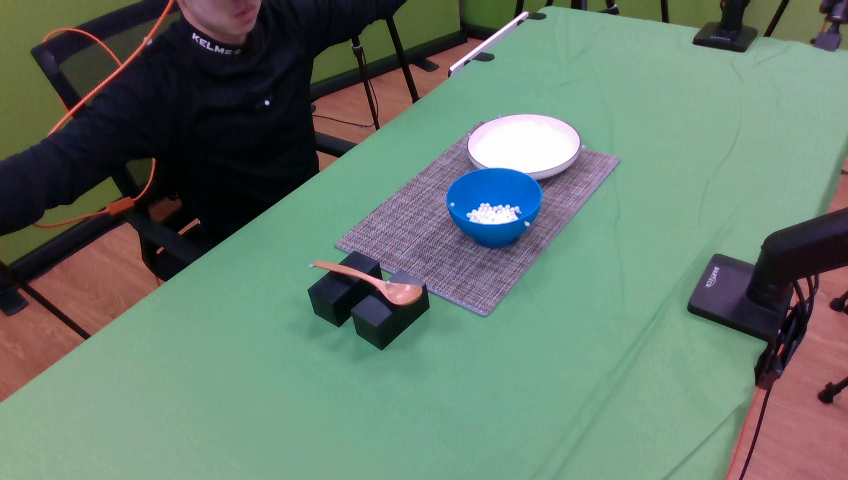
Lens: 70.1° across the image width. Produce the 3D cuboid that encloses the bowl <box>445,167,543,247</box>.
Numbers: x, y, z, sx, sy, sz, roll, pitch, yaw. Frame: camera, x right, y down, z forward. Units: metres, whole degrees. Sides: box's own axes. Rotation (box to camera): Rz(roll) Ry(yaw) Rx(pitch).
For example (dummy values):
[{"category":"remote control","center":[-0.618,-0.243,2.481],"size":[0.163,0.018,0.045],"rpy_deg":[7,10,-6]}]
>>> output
[{"category":"bowl","center":[0.111,-0.041,0.952],"size":[0.151,0.077,0.150],"rpy_deg":[-4,41,4]}]

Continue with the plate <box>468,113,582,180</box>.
[{"category":"plate","center":[0.186,-0.169,1.122],"size":[0.207,0.039,0.206],"rpy_deg":[-4,40,4]}]

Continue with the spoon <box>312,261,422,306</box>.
[{"category":"spoon","center":[-0.084,0.055,0.842],"size":[0.192,0.022,0.042],"rpy_deg":[19,46,29]}]
